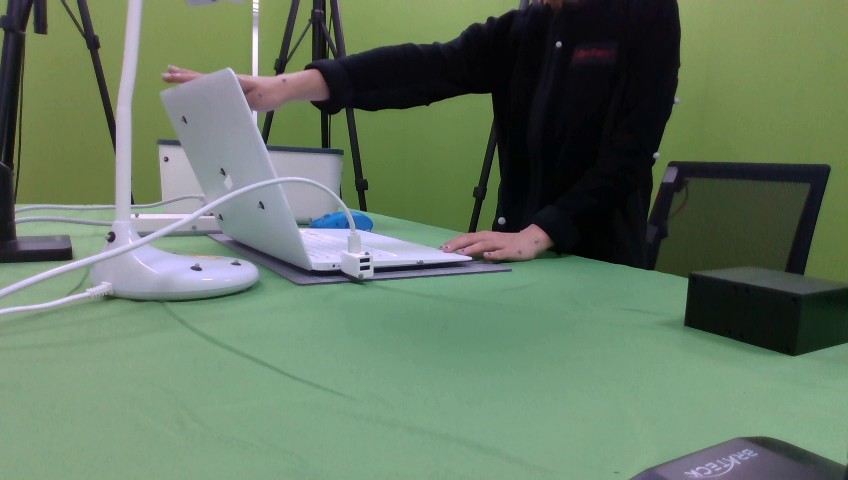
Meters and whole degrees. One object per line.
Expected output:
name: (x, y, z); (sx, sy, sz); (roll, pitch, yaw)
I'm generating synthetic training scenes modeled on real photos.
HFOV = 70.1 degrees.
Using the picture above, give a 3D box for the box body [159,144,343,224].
box body: (-0.364, -0.128, 1.337); (0.365, 0.160, 0.253); (2, 7, -8)

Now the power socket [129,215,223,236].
power socket: (-0.397, -0.028, 1.048); (0.228, 0.032, 0.072); (-3, 7, -35)

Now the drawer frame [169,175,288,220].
drawer frame: (-0.414, -0.096, 1.320); (0.214, 0.082, 0.201); (-5, 7, -8)

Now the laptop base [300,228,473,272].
laptop base: (-0.124, 0.011, 0.889); (0.237, 0.023, 0.352); (2, 6, -35)

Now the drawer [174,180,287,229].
drawer: (-0.413, -0.080, 1.325); (0.212, 0.073, 0.194); (-8, 11, -8)

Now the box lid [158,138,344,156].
box lid: (-0.363, -0.201, 1.328); (0.372, 0.015, 0.262); (2, 7, -8)

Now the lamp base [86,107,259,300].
lamp base: (-0.255, -0.039, 0.603); (0.160, 0.180, 0.179); (4, 10, 18)

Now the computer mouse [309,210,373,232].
computer mouse: (-0.157, -0.034, 1.139); (0.118, 0.041, 0.062); (-6, 12, -28)

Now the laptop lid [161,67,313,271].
laptop lid: (-0.255, -0.090, 0.782); (0.013, 0.242, 0.355); (-29, 24, -28)

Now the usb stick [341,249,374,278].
usb stick: (-0.079, 0.026, 0.686); (0.021, 0.027, 0.059); (-8, 9, -30)

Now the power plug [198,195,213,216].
power plug: (-0.386, -0.055, 1.088); (0.035, 0.052, 0.072); (-2, 7, -24)

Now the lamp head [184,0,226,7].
lamp head: (-0.229, -0.320, 0.627); (0.112, 0.112, 0.123); (6, -36, 26)
